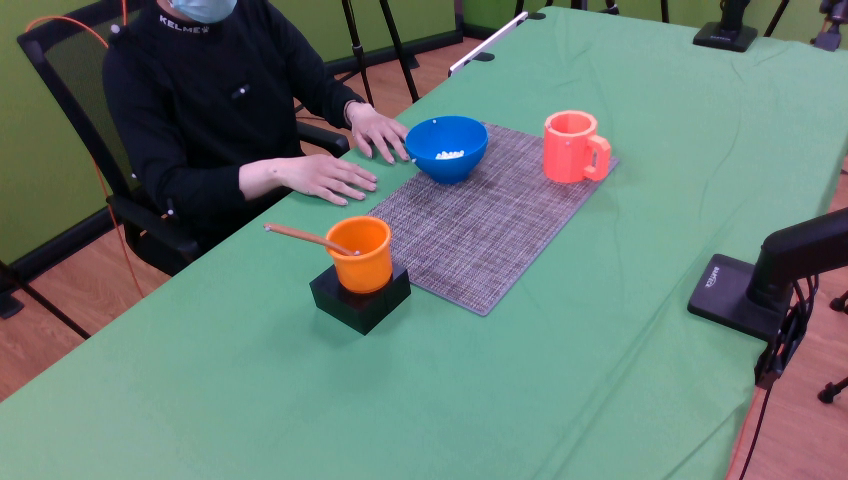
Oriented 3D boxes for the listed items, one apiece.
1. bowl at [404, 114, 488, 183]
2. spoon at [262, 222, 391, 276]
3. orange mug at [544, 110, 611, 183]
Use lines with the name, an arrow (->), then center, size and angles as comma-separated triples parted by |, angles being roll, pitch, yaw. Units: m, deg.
bowl -> 0.043, -0.156, 1.095 | 0.151, 0.077, 0.150 | -4, 41, 4
spoon -> -0.124, 0.009, 0.800 | 0.021, 0.195, 0.041 | -45, 40, 23
orange mug -> 0.266, -0.157, 1.049 | 0.084, 0.101, 0.125 | -33, 42, -26
